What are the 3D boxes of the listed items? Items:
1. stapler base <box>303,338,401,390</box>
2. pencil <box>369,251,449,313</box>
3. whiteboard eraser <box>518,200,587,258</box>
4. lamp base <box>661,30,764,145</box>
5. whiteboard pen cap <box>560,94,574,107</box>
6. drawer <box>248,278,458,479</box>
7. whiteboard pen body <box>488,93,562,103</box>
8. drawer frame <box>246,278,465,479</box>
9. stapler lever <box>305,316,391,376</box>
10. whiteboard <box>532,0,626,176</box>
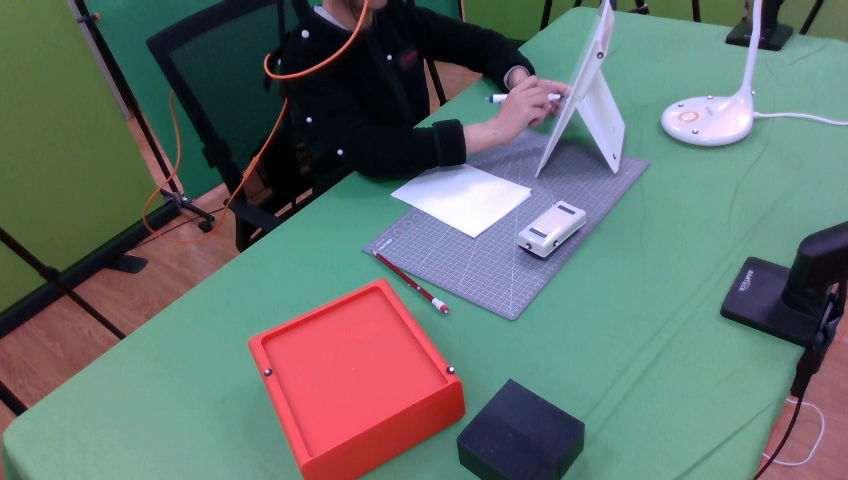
[{"bbox_3d":[-0.096,0.160,0.813,0.131,0.024,0.041,-17,42,-17],"label":"stapler base"},{"bbox_3d":[-0.028,0.060,0.924,0.012,0.012,0.192,-33,46,-25],"label":"pencil"},{"bbox_3d":[0.201,-0.016,0.943,0.113,0.042,0.055,-37,46,-29],"label":"whiteboard eraser"},{"bbox_3d":[0.535,-0.287,1.096,0.179,0.181,0.159,-10,40,-4],"label":"lamp base"},{"bbox_3d":[0.301,-0.293,1.272,0.018,0.018,0.033,26,50,34],"label":"whiteboard pen cap"},{"bbox_3d":[-0.092,0.167,0.756,0.195,0.073,0.210,-24,43,-18],"label":"drawer"},{"bbox_3d":[0.191,-0.267,1.136,0.141,0.017,0.017,-1,41,0],"label":"whiteboard pen body"},{"bbox_3d":[-0.088,0.168,0.752,0.202,0.083,0.211,-24,43,-18],"label":"drawer frame"},{"bbox_3d":[-0.100,0.136,0.790,0.118,0.040,0.026,-23,44,-12],"label":"stapler lever"},{"bbox_3d":[0.321,-0.258,1.050,0.144,0.306,0.217,22,45,5],"label":"whiteboard"}]
